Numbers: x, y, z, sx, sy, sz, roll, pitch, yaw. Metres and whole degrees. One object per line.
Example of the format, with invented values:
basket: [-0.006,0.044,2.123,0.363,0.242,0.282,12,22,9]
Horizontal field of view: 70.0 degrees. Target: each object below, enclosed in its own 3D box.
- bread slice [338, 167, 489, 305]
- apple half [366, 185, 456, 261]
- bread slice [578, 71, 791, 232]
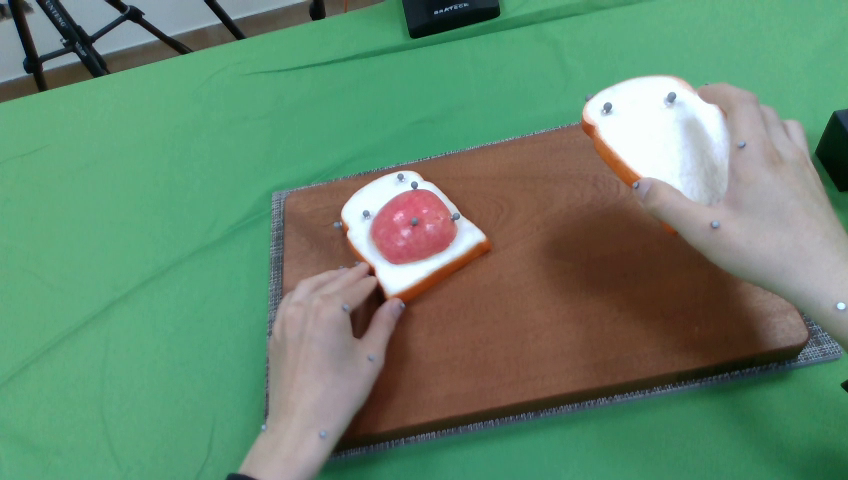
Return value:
bread slice: [-0.021,-0.013,0.549,0.105,0.019,0.130,-32,55,-13]
apple half: [-0.015,-0.021,0.524,0.081,0.033,0.080,-5,52,8]
bread slice: [0.177,-0.072,0.443,0.107,0.018,0.133,-26,60,-17]
